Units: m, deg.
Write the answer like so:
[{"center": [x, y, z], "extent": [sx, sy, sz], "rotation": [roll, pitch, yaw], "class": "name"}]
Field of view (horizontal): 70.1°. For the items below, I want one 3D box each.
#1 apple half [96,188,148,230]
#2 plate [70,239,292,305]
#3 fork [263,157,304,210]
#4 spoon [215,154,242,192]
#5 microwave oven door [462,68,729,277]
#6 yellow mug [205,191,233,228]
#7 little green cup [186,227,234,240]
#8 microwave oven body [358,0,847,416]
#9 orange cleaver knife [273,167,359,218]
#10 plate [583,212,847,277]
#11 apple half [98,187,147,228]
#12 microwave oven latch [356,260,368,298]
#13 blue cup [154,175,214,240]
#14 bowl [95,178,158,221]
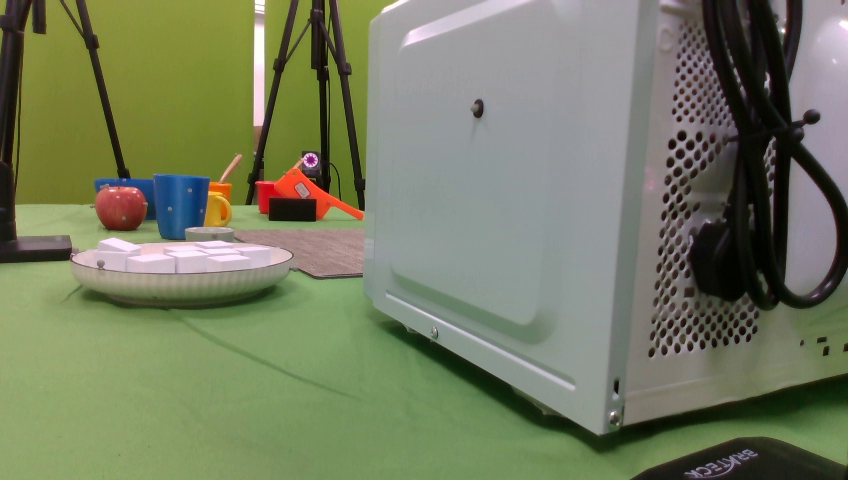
[{"center": [-0.517, -0.052, 1.036], "extent": [0.081, 0.074, 0.053], "rotation": [2, 10, -26], "class": "apple half"}, {"center": [-0.242, 0.031, 0.618], "extent": [0.208, 0.039, 0.207], "rotation": [2, 8, 0], "class": "plate"}, {"center": [-0.345, -0.143, 1.505], "extent": [0.028, 0.019, 0.207], "rotation": [-4, 46, 28], "class": "fork"}, {"center": [-0.439, -0.124, 1.318], "extent": [0.041, 0.193, 0.022], "rotation": [6, -36, 15], "class": "spoon"}, {"center": [0.205, -0.096, 0.811], "extent": [0.354, 0.243, 0.039], "rotation": [9, 11, 40], "class": "microwave oven door"}, {"center": [-0.415, -0.057, 1.131], "extent": [0.130, 0.064, 0.100], "rotation": [6, 8, 16], "class": "yellow mug"}, {"center": [-0.285, 0.005, 0.805], "extent": [0.061, 0.038, 0.061], "rotation": [2, 8, 0], "class": "little green cup"}, {"center": [0.211, -0.047, 0.474], "extent": [0.444, 0.260, 0.324], "rotation": [-1, 7, -28], "class": "microwave oven body"}, {"center": [-0.238, -0.091, 1.381], "extent": [0.212, 0.077, 0.012], "rotation": [31, 0, -19], "class": "orange cleaver knife"}, {"center": [0.239, 0.001, 0.510], "extent": [0.209, 0.038, 0.209], "rotation": [2, 6, 0], "class": "plate"}, {"center": [-0.534, -0.059, 1.071], "extent": [0.082, 0.081, 0.032], "rotation": [-1, 11, -25], "class": "apple half"}, {"center": [-0.019, 0.033, 0.529], "extent": [0.079, 0.029, 0.030], "rotation": [0, 7, -24], "class": "microwave oven latch"}, {"center": [-0.390, -0.053, 0.978], "extent": [0.093, 0.100, 0.092], "rotation": [3, 6, 0], "class": "blue cup"}, {"center": [-0.576, -0.081, 1.217], "extent": [0.151, 0.077, 0.151], "rotation": [3, 8, 0], "class": "bowl"}]
